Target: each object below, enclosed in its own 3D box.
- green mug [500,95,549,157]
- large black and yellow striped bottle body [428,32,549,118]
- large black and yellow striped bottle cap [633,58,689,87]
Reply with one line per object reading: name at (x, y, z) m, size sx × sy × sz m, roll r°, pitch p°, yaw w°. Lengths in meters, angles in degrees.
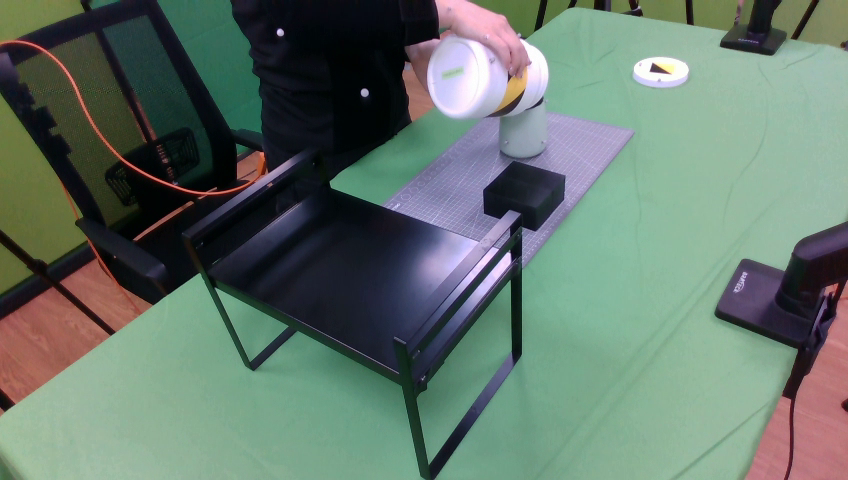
green mug at (0.196, -0.229, 1.145) m, size 0.092 × 0.105 × 0.125 m, roll 15°, pitch 46°, yaw 25°
large black and yellow striped bottle body at (0.112, -0.272, 1.006) m, size 0.185 × 0.131 × 0.129 m, roll -14°, pitch 35°, yaw -43°
large black and yellow striped bottle cap at (0.522, -0.370, 1.332) m, size 0.115 × 0.019 × 0.114 m, roll -3°, pitch 41°, yaw 4°
